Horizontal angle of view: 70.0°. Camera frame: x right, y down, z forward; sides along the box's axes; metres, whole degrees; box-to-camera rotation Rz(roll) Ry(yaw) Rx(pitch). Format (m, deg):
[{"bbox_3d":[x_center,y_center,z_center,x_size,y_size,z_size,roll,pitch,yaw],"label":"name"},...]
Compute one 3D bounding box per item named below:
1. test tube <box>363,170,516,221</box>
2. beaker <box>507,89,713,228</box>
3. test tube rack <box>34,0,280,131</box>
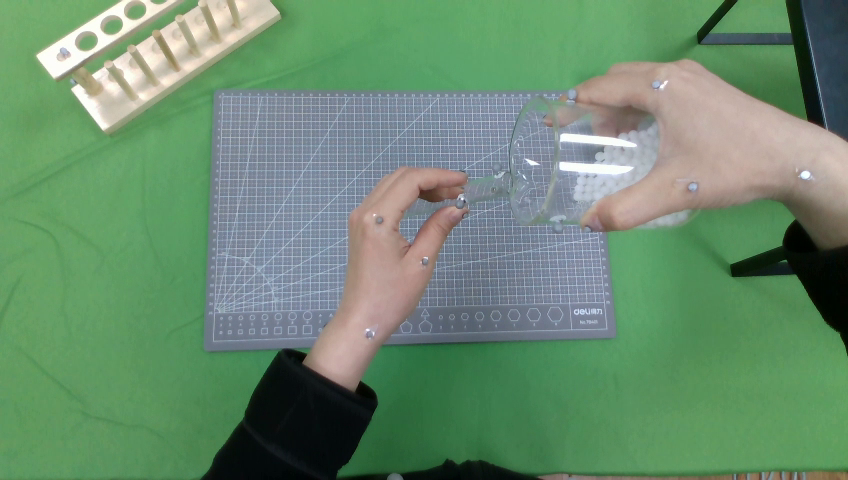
[{"bbox_3d":[0.004,-0.030,0.439,0.017,0.149,0.017,7,79,-42],"label":"test tube"},{"bbox_3d":[0.106,-0.043,0.358,0.100,0.084,0.073,3,77,-11],"label":"beaker"},{"bbox_3d":[-0.284,-0.231,0.671,0.242,0.085,0.066,-38,83,-11],"label":"test tube rack"}]
